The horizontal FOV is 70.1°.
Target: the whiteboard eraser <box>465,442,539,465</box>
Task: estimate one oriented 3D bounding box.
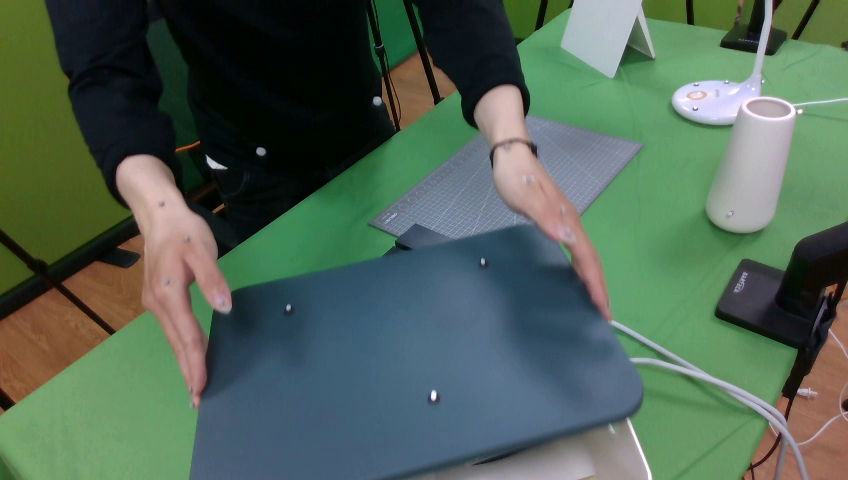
[{"bbox_3d":[0.091,0.212,0.682,0.113,0.042,0.055,-17,41,-9],"label":"whiteboard eraser"}]

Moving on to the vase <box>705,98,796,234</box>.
[{"bbox_3d":[0.480,-0.103,0.888,0.098,0.201,0.097,-4,42,4],"label":"vase"}]

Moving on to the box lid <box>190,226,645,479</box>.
[{"bbox_3d":[-0.021,0.096,0.558,0.372,0.015,0.261,-12,37,-5],"label":"box lid"}]

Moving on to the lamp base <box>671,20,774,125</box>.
[{"bbox_3d":[0.581,-0.332,1.154,0.179,0.181,0.160,2,41,7],"label":"lamp base"}]

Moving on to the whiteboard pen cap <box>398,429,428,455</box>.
[{"bbox_3d":[-0.013,0.233,0.695,0.033,0.018,0.018,-23,43,-23],"label":"whiteboard pen cap"}]

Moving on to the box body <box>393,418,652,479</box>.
[{"bbox_3d":[0.005,0.211,0.616,0.364,0.161,0.252,-9,41,-2],"label":"box body"}]

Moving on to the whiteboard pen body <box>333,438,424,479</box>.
[{"bbox_3d":[-0.062,0.255,0.675,0.141,0.017,0.017,-22,43,-20],"label":"whiteboard pen body"}]

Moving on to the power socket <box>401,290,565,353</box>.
[{"bbox_3d":[0.080,0.111,0.823,0.227,0.033,0.072,-5,41,1],"label":"power socket"}]

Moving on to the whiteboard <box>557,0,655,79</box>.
[{"bbox_3d":[0.462,-0.542,1.366,0.145,0.306,0.215,-3,36,-25],"label":"whiteboard"}]

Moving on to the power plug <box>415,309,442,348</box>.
[{"bbox_3d":[0.003,0.121,0.786,0.035,0.053,0.072,2,45,9],"label":"power plug"}]
